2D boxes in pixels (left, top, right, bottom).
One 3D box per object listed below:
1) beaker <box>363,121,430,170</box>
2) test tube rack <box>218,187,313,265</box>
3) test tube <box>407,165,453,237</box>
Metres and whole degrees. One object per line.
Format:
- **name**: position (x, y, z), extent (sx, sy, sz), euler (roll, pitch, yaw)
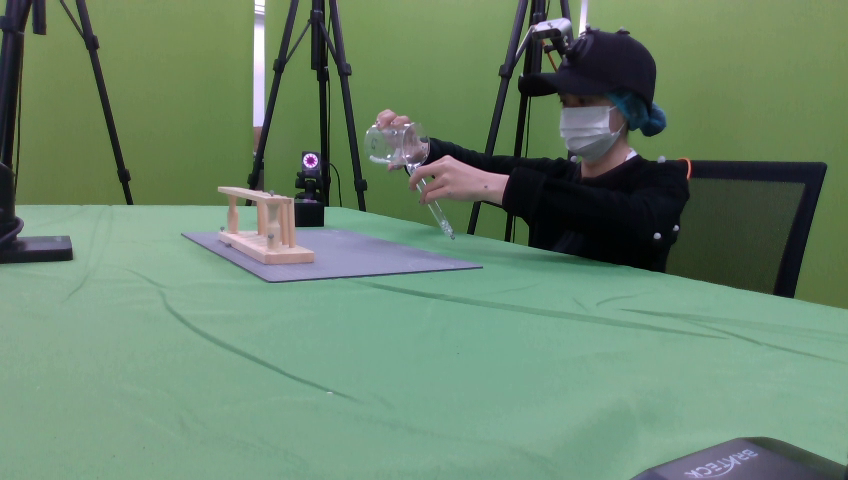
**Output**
- **beaker**: position (-0.052, -0.166, 1.062), extent (0.100, 0.084, 0.074), euler (9, -2, 40)
- **test tube rack**: position (-0.235, -0.027, 0.872), extent (0.067, 0.085, 0.241), euler (-2, 8, -32)
- **test tube**: position (0.010, -0.065, 1.002), extent (0.017, 0.149, 0.017), euler (-24, -25, -12)
